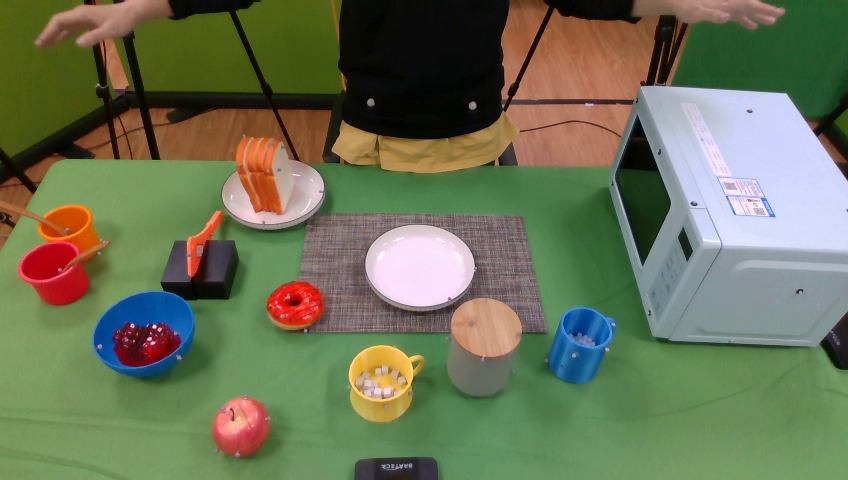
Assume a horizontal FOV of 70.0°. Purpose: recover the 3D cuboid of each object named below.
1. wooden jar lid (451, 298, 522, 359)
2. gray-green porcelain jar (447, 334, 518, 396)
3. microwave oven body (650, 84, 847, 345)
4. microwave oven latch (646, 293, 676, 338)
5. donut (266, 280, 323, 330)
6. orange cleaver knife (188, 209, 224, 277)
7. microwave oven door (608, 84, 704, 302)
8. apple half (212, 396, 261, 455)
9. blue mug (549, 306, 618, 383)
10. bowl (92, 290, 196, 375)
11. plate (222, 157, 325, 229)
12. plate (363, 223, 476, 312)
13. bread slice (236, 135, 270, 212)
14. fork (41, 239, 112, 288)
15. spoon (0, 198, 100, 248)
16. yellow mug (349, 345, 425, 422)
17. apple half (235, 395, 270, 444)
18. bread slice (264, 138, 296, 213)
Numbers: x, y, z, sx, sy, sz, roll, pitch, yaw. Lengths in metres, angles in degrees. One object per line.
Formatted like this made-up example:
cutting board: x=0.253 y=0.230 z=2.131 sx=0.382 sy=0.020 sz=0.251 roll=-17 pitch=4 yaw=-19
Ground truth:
wooden jar lid: x=0.093 y=0.135 z=0.914 sx=0.108 sy=0.021 sz=0.107 roll=2 pitch=48 yaw=-3
gray-green porcelain jar: x=0.091 y=0.178 z=0.960 sx=0.106 sy=0.127 sz=0.105 roll=2 pitch=46 yaw=-2
microwave oven body: x=0.569 y=-0.054 z=1.116 sx=0.326 sy=0.261 sz=0.439 roll=2 pitch=46 yaw=-1
microwave oven latch: x=0.412 y=0.133 z=1.060 sx=0.030 sy=0.029 sz=0.078 roll=3 pitch=46 yaw=0
donut: x=-0.223 y=0.113 z=1.051 sx=0.099 sy=0.048 sz=0.098 roll=2 pitch=46 yaw=-1
orange cleaver knife: x=-0.402 y=0.000 z=1.123 sx=0.012 sy=0.077 sz=0.210 roll=1 pitch=22 yaw=-3
microwave oven door: x=0.424 y=-0.096 z=1.138 sx=0.039 sy=0.245 sz=0.353 roll=3 pitch=46 yaw=-1
apple half: x=-0.276 y=0.276 z=0.877 sx=0.053 sy=0.075 sz=0.080 roll=-29 pitch=58 yaw=-21
blue mug: x=0.269 y=0.167 z=0.997 sx=0.116 sy=0.106 sz=0.082 roll=-19 pitch=50 yaw=-21
bowl: x=-0.436 y=0.161 z=0.971 sx=0.151 sy=0.077 sz=0.150 roll=2 pitch=46 yaw=-2
plate: x=-0.307 y=-0.094 z=1.251 sx=0.209 sy=0.038 sz=0.208 roll=2 pitch=46 yaw=-2
plate: x=-0.009 y=0.054 z=1.126 sx=0.208 sy=0.039 sz=0.206 roll=2 pitch=46 yaw=-2
bread slice: x=-0.340 y=-0.142 z=1.218 sx=0.018 sy=0.135 sz=0.106 roll=-3 pitch=44 yaw=7
fork: x=-0.591 y=0.040 z=1.028 sx=0.207 sy=0.019 sz=0.028 roll=-27 pitch=37 yaw=29
spoon: x=-0.684 y=-0.035 z=1.092 sx=0.021 sy=0.195 sz=0.041 roll=-32 pitch=42 yaw=28
yellow mug: x=-0.054 y=0.217 z=0.954 sx=0.131 sy=0.064 sz=0.099 roll=-23 pitch=52 yaw=-25
apple half: x=-0.245 y=0.260 z=0.893 sx=0.033 sy=0.082 sz=0.081 roll=-29 pitch=55 yaw=-22
bread slice: x=-0.287 y=-0.134 z=1.214 sx=0.019 sy=0.132 sz=0.104 roll=1 pitch=45 yaw=7
